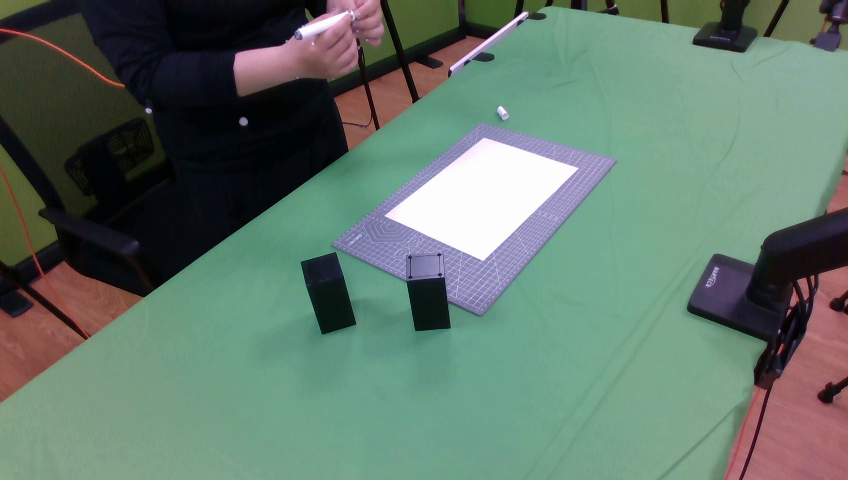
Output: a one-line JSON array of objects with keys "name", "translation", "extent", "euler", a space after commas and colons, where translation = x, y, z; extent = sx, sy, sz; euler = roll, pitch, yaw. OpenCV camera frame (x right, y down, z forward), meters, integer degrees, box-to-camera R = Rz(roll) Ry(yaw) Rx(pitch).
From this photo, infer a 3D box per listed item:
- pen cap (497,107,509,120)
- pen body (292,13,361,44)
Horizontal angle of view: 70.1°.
[{"name": "pen cap", "translation": [0.164, -0.264, 1.261], "extent": [0.017, 0.017, 0.038], "euler": [-14, 41, -7]}, {"name": "pen body", "translation": [-0.148, -0.334, 0.944], "extent": [0.017, 0.017, 0.144], "euler": [24, 45, 32]}]
